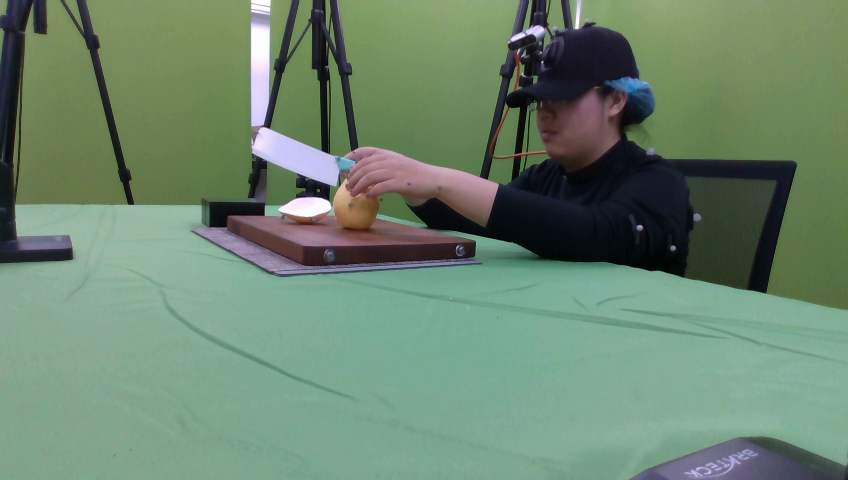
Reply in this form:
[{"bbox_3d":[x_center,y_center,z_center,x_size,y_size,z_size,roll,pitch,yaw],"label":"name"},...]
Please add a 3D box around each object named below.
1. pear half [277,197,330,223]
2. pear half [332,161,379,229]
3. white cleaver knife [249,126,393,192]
[{"bbox_3d":[-0.204,-0.047,1.033,0.088,0.031,0.070,-12,27,-17],"label":"pear half"},{"bbox_3d":[-0.103,-0.072,0.970,0.055,0.110,0.077,11,15,44],"label":"pear half"},{"bbox_3d":[-0.180,-0.133,1.107,0.288,0.066,0.021,17,-16,-32],"label":"white cleaver knife"}]
